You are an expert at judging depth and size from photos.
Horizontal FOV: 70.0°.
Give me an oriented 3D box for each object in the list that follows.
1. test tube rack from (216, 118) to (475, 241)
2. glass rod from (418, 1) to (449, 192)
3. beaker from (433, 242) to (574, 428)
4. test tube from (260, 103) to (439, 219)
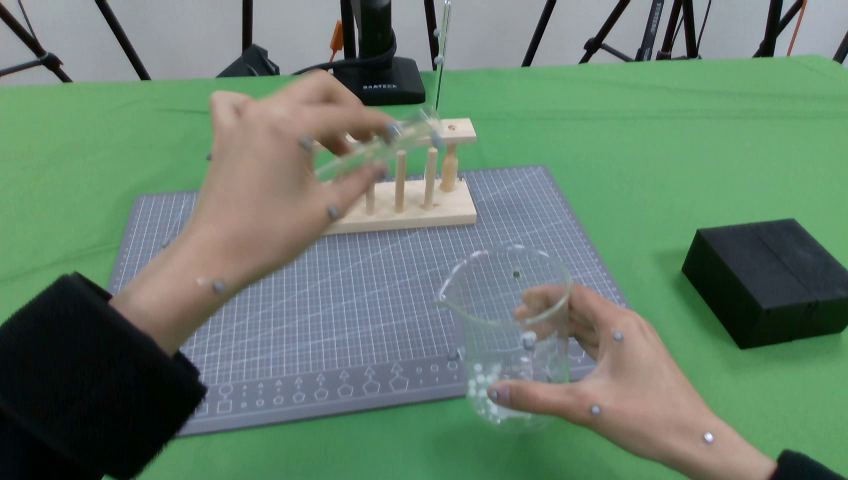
[{"bbox_3d":[-0.072,-0.061,0.597,0.243,0.086,0.066,-4,41,-8],"label":"test tube rack"},{"bbox_3d":[0.007,-0.125,0.572,0.008,0.201,0.008,5,42,-4],"label":"glass rod"},{"bbox_3d":[0.053,0.063,0.384,0.084,0.101,0.073,-9,35,2],"label":"beaker"},{"bbox_3d":[-0.051,-0.043,0.364,0.150,0.017,0.017,-23,26,36],"label":"test tube"}]
